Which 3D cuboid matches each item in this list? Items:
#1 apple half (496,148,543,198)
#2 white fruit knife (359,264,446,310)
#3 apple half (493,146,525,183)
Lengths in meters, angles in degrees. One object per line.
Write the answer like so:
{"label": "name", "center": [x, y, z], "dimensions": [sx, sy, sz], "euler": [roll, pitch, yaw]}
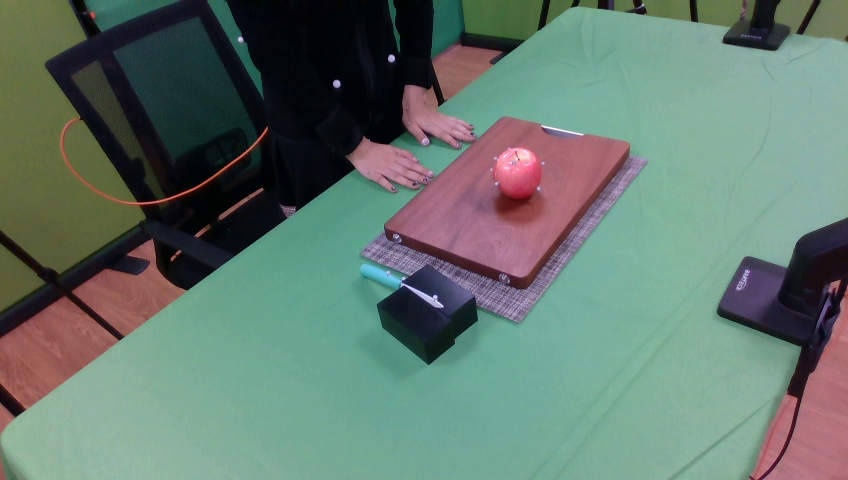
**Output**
{"label": "apple half", "center": [0.164, -0.104, 0.991], "dimensions": [0.081, 0.075, 0.053], "euler": [-31, 48, -28]}
{"label": "white fruit knife", "center": [-0.034, 0.066, 0.870], "dimensions": [0.016, 0.027, 0.205], "euler": [-38, 33, -26]}
{"label": "apple half", "center": [0.139, -0.122, 1.015], "dimensions": [0.081, 0.081, 0.032], "euler": [-34, 50, -25]}
